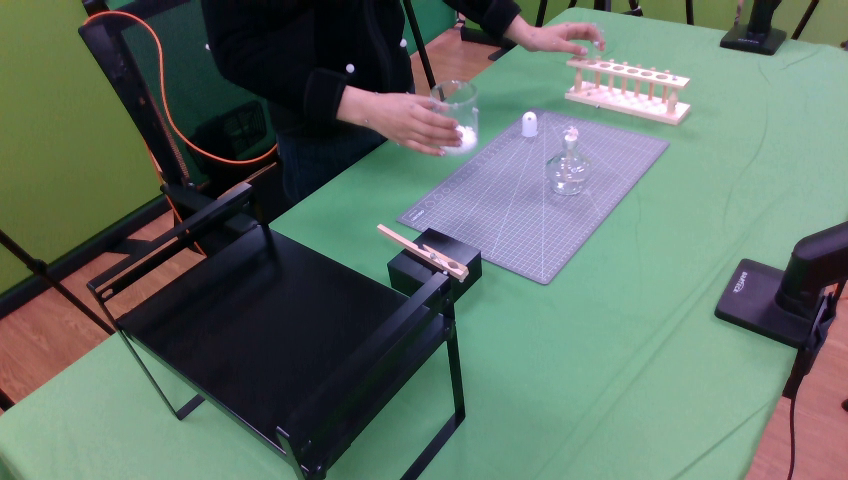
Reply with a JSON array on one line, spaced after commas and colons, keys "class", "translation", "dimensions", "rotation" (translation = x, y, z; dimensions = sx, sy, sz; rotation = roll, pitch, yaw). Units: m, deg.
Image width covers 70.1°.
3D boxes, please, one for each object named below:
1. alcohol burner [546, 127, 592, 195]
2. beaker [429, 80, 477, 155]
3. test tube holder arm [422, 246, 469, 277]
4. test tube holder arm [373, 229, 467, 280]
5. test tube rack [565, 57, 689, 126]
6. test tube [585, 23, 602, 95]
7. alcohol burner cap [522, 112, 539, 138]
[{"class": "alcohol burner", "translation": [0.246, -0.137, 1.023], "dimensions": [0.078, 0.119, 0.077], "rotation": [-4, 38, 4]}, {"class": "beaker", "translation": [0.049, -0.196, 0.969], "dimensions": [0.074, 0.101, 0.084], "rotation": [7, 46, 14]}, {"class": "test tube holder arm", "translation": [0.028, 0.031, 0.864], "dimensions": [0.087, 0.015, 0.010], "rotation": [25, 48, 34]}, {"class": "test tube holder arm", "translation": [-0.010, 0.019, 0.885], "dimensions": [0.177, 0.015, 0.013], "rotation": [23, 48, 33]}, {"class": "test tube rack", "translation": [0.411, -0.311, 1.230], "dimensions": [0.240, 0.085, 0.067], "rotation": [23, 49, 32]}, {"class": "test tube", "translation": [0.342, -0.364, 1.226], "dimensions": [0.017, 0.151, 0.017], "rotation": [-2, 42, 2]}, {"class": "alcohol burner cap", "translation": [0.210, -0.230, 1.195], "dimensions": [0.034, 0.048, 0.033], "rotation": [-5, 41, 5]}]
